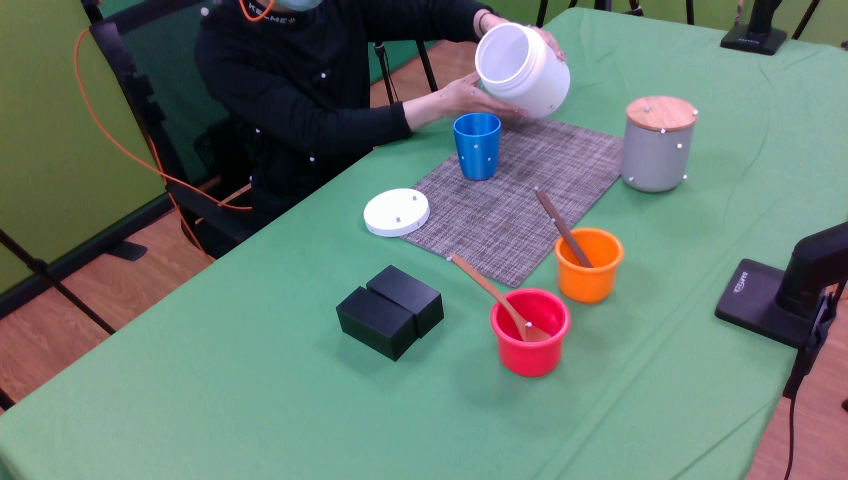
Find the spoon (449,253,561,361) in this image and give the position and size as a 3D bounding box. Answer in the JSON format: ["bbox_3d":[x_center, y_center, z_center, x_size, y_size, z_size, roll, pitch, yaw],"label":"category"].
[{"bbox_3d":[0.103,0.083,0.770,0.194,0.021,0.042,47,52,-7],"label":"spoon"}]

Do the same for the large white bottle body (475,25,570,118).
[{"bbox_3d":[0.184,-0.315,1.131,0.129,0.130,0.186,24,7,32],"label":"large white bottle body"}]

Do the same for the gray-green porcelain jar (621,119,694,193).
[{"bbox_3d":[0.389,-0.152,1.016,0.106,0.127,0.105,-4,40,4],"label":"gray-green porcelain jar"}]

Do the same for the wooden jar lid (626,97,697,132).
[{"bbox_3d":[0.381,-0.198,0.976,0.108,0.021,0.108,-2,40,3],"label":"wooden jar lid"}]

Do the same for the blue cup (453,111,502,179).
[{"bbox_3d":[0.097,-0.166,1.088,0.092,0.100,0.092,-3,41,3],"label":"blue cup"}]

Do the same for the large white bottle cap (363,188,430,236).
[{"bbox_3d":[-0.048,-0.050,1.040,0.115,0.018,0.114,-7,40,6],"label":"large white bottle cap"}]

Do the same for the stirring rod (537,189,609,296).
[{"bbox_3d":[0.211,0.003,0.855,0.014,0.006,0.176,-32,89,-30],"label":"stirring rod"}]
